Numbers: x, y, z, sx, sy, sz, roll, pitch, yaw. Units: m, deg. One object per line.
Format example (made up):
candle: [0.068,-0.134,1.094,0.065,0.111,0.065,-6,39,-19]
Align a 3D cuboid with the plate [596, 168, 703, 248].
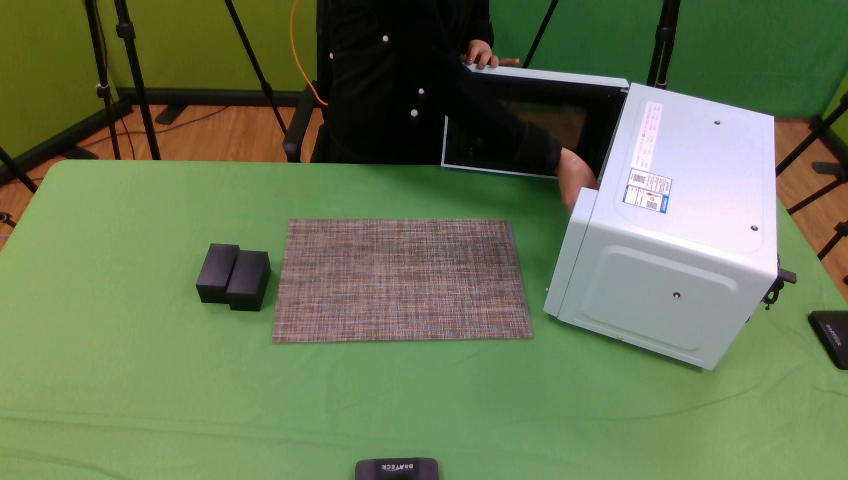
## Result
plate: [0.432,-0.059,1.179,0.209,0.038,0.208,6,47,-6]

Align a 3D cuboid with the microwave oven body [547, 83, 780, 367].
microwave oven body: [0.445,-0.041,1.101,0.325,0.261,0.440,17,47,13]

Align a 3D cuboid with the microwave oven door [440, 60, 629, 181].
microwave oven door: [0.220,-0.246,1.273,0.356,0.245,0.039,6,46,2]

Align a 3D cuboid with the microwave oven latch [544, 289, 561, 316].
microwave oven latch: [0.237,0.098,1.087,0.030,0.029,0.079,18,47,14]

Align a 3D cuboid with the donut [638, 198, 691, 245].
donut: [0.459,-0.036,1.159,0.099,0.048,0.098,3,63,-5]
